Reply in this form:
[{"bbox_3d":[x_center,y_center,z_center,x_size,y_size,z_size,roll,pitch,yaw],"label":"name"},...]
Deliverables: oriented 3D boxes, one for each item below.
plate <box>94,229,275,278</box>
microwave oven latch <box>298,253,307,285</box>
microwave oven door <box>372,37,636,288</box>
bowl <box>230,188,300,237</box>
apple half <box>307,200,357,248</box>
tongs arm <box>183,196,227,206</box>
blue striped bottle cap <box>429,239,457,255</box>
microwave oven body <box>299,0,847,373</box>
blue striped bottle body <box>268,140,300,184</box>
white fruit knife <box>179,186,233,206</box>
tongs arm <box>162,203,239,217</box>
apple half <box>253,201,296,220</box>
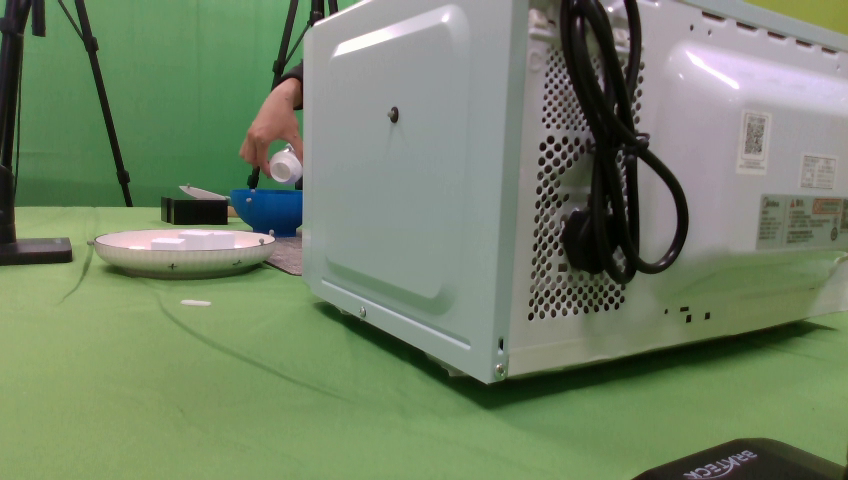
[{"bbox_3d":[-0.291,0.016,0.749,0.208,0.039,0.207,2,7,0],"label":"plate"},{"bbox_3d":[-0.081,0.027,0.582,0.079,0.029,0.030,-2,7,-32],"label":"microwave oven latch"},{"bbox_3d":[0.110,-0.080,0.686,0.358,0.243,0.039,-2,9,-33],"label":"microwave oven door"},{"bbox_3d":[-0.264,-0.048,1.065,0.151,0.077,0.151,3,8,0],"label":"bowl"},{"bbox_3d":[-0.135,-0.024,0.941,0.053,0.074,0.081,13,9,39],"label":"apple half"},{"bbox_3d":[-0.404,-0.081,1.479,0.385,0.026,0.050,4,8,-2],"label":"tongs arm"},{"bbox_3d":[0.029,0.011,0.945,0.044,0.020,0.044,1,6,0],"label":"blue striped bottle cap"},{"bbox_3d":[0.152,-0.055,0.542,0.444,0.260,0.324,-2,7,-33],"label":"microwave oven body"},{"bbox_3d":[-0.255,-0.146,1.149,0.063,0.063,0.121,3,24,5],"label":"blue striped bottle body"},{"bbox_3d":[-0.413,-0.081,1.270,0.208,0.027,0.016,17,13,-41],"label":"white fruit knife"},{"bbox_3d":[-0.396,-0.066,1.399,0.389,0.028,0.028,1,5,-15],"label":"tongs arm"},{"bbox_3d":[-0.264,-0.053,1.067,0.081,0.033,0.081,2,9,0],"label":"apple half"}]
